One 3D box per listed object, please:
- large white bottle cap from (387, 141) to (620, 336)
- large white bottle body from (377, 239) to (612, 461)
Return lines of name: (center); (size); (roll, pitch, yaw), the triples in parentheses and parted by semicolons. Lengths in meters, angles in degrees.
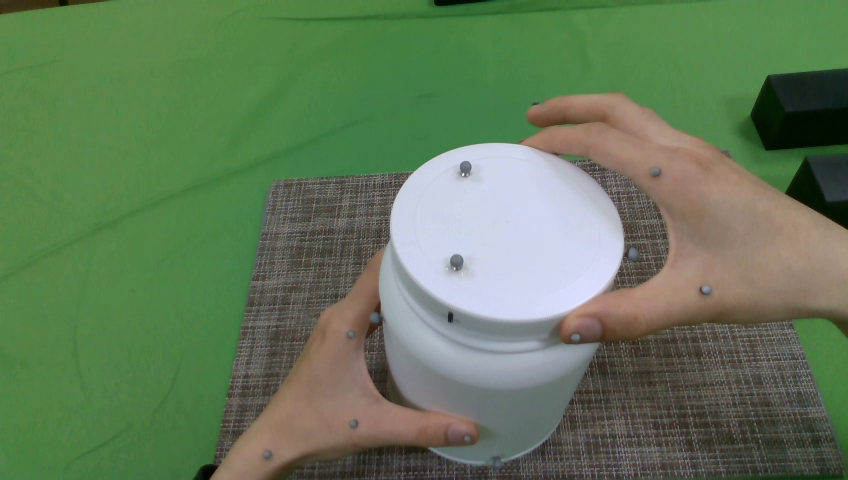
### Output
large white bottle cap: (0.039, -0.005, 0.301); (0.115, 0.018, 0.113); (1, 52, -1)
large white bottle body: (0.038, 0.047, 0.374); (0.130, 0.186, 0.129); (1, 54, 0)
